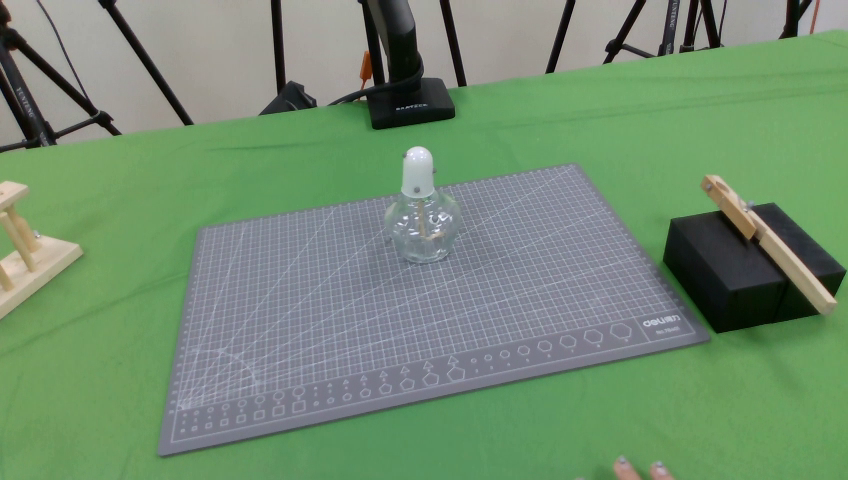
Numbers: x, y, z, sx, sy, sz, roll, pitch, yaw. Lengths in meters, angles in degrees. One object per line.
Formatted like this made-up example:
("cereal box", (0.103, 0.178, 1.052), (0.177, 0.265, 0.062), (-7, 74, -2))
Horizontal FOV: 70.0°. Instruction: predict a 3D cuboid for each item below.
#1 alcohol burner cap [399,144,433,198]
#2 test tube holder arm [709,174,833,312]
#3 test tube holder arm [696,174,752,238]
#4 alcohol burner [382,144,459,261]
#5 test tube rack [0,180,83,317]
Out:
("alcohol burner cap", (-0.008, -0.066, 0.570), (0.034, 0.048, 0.033), (1, 37, 0))
("test tube holder arm", (0.288, -0.005, 0.518), (0.013, 0.015, 0.176), (-3, 38, -10))
("test tube holder arm", (0.275, -0.032, 0.552), (0.010, 0.015, 0.087), (-3, 38, -9))
("alcohol burner", (-0.005, -0.039, 0.593), (0.078, 0.120, 0.077), (-4, 37, 3))
("test tube rack", (-0.456, 0.046, 0.570), (0.066, 0.086, 0.241), (12, 42, 20))
